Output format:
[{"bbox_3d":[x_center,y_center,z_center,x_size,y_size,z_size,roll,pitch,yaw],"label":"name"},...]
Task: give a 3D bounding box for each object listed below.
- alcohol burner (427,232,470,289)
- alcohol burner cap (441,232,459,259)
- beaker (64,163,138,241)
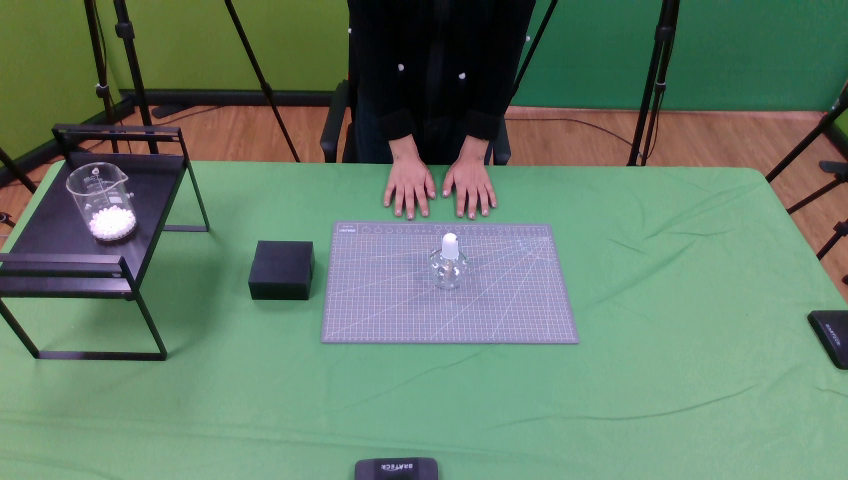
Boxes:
[{"bbox_3d":[0.045,0.032,1.099,0.078,0.120,0.077,0,46,0],"label":"alcohol burner"},{"bbox_3d":[0.046,0.007,1.075,0.034,0.048,0.033,0,42,0],"label":"alcohol burner cap"},{"bbox_3d":[-0.477,-0.055,0.910,0.084,0.101,0.073,-9,48,-13],"label":"beaker"}]
